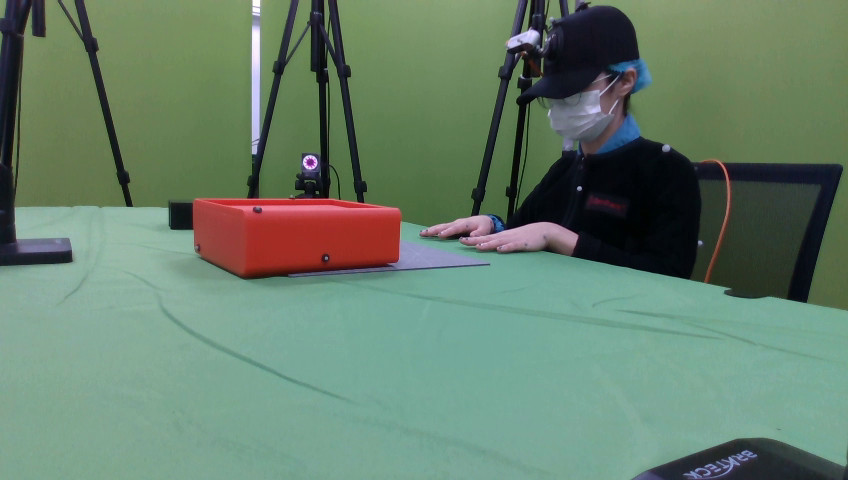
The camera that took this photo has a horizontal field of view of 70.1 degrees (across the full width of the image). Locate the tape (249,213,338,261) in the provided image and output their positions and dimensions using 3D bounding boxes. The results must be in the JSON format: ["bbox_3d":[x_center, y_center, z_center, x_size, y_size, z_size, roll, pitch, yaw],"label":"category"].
[{"bbox_3d":[-0.174,-0.006,0.813,0.117,0.052,0.117,2,7,0],"label":"tape"}]

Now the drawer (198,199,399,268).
[{"bbox_3d":[-0.171,-0.014,0.818,0.213,0.073,0.193,-4,10,-36],"label":"drawer"}]

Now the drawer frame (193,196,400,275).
[{"bbox_3d":[-0.173,-0.014,0.815,0.215,0.082,0.200,-4,10,-37],"label":"drawer frame"}]
